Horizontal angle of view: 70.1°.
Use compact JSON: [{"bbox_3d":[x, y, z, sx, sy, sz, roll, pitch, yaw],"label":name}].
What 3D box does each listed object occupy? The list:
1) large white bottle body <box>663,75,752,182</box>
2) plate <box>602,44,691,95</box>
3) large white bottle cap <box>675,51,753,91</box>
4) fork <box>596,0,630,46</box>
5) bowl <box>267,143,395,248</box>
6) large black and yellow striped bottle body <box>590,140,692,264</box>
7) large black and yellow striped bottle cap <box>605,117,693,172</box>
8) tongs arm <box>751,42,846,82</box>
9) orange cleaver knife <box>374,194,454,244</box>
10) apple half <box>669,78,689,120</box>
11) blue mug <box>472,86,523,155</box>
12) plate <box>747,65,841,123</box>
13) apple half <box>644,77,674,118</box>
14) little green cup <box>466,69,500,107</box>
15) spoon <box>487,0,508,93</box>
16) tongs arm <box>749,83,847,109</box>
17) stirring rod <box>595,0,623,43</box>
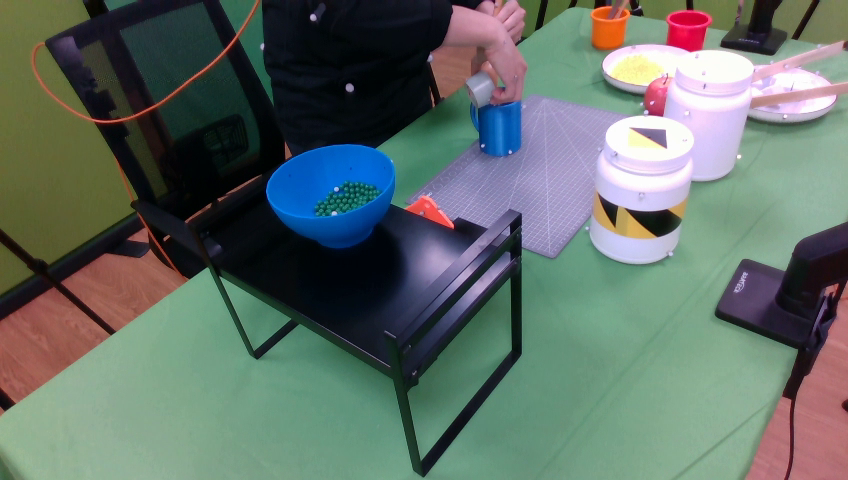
[{"bbox_3d":[0.472,-0.207,1.022,0.130,0.185,0.130,-4,41,4],"label":"large white bottle body"},{"bbox_3d":[0.495,-0.367,1.317,0.209,0.038,0.208,-4,40,4],"label":"plate"},{"bbox_3d":[0.463,-0.271,0.967,0.115,0.018,0.114,-4,40,4],"label":"large white bottle cap"},{"bbox_3d":[0.481,-0.556,1.452,0.028,0.019,0.207,40,103,40],"label":"fork"},{"bbox_3d":[-0.104,-0.043,0.726,0.151,0.077,0.150,-4,41,4],"label":"bowl"},{"bbox_3d":[0.317,-0.071,0.889,0.131,0.185,0.130,-4,41,4],"label":"large black and yellow striped bottle body"},{"bbox_3d":[0.309,-0.134,0.833,0.115,0.019,0.114,-5,40,5],"label":"large black and yellow striped bottle cap"},{"bbox_3d":[0.708,-0.331,1.193,0.386,0.026,0.050,-18,45,-16],"label":"tongs arm"},{"bbox_3d":[-0.032,-0.026,0.964,0.210,0.077,0.012,-9,29,51],"label":"orange cleaver knife"},{"bbox_3d":[0.498,-0.273,1.180,0.032,0.082,0.081,7,42,25],"label":"apple half"},{"bbox_3d":[0.135,-0.235,1.163,0.082,0.106,0.115,-36,48,-28],"label":"blue mug"},{"bbox_3d":[0.694,-0.282,1.189,0.207,0.039,0.206,-4,40,4],"label":"plate"},{"bbox_3d":[0.463,-0.279,1.194,0.053,0.075,0.081,8,46,25],"label":"apple half"},{"bbox_3d":[0.104,-0.270,1.083,0.038,0.062,0.061,-32,42,4],"label":"little green cup"},{"bbox_3d":[0.133,-0.358,1.093,0.042,0.021,0.193,6,76,-13],"label":"spoon"},{"bbox_3d":[0.734,-0.280,1.133,0.388,0.028,0.028,-9,47,-5],"label":"tongs arm"},{"bbox_3d":[0.460,-0.556,1.460,0.014,0.006,0.176,30,93,23],"label":"stirring rod"}]
